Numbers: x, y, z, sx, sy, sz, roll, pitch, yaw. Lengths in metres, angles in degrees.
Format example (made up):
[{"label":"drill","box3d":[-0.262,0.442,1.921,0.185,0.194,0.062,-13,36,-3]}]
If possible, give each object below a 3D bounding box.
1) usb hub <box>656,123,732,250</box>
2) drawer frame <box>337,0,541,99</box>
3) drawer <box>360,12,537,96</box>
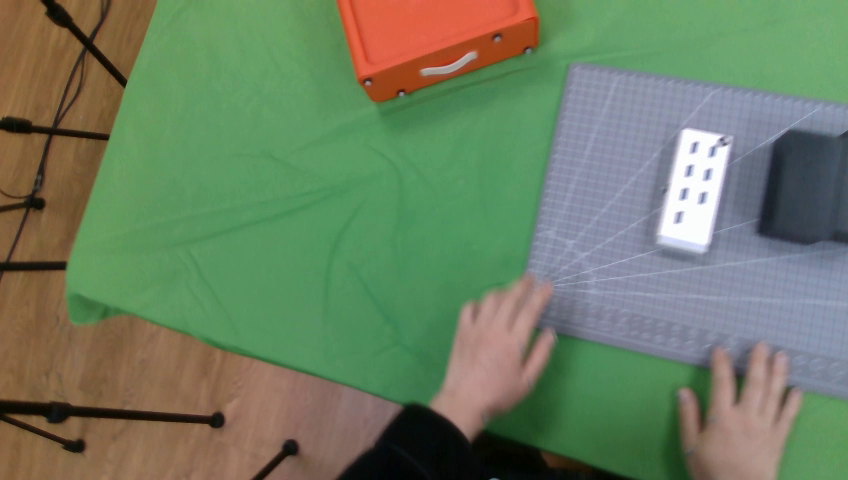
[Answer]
[{"label":"usb hub","box3d":[0.278,-0.055,0.625,0.049,0.025,0.125,13,86,10]},{"label":"drawer frame","box3d":[0.002,-0.293,0.672,0.201,0.083,0.212,-18,80,7]},{"label":"drawer","box3d":[0.002,-0.291,0.674,0.194,0.073,0.211,-17,80,8]}]
